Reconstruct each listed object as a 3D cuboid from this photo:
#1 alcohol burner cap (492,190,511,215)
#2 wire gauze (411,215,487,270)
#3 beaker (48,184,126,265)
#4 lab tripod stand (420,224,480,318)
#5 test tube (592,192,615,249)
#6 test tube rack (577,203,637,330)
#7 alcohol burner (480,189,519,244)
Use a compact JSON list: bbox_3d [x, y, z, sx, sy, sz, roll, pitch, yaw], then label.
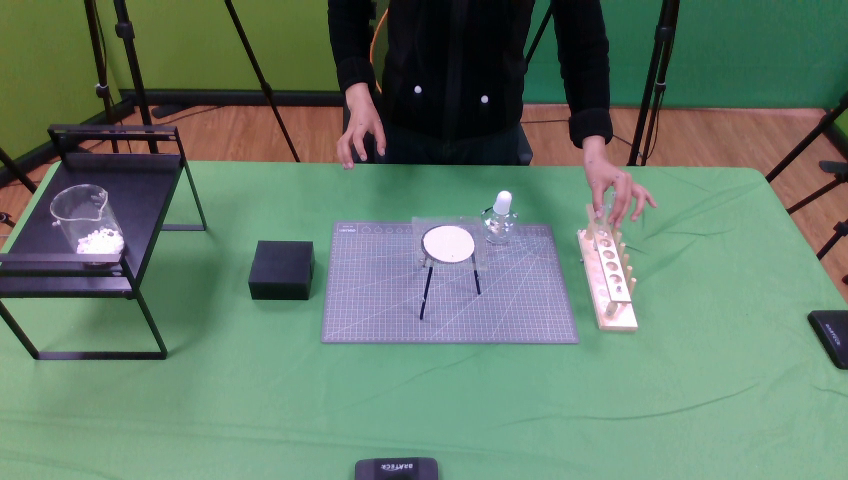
[{"bbox_3d":[0.151,-0.076,1.165,0.034,0.048,0.033,5,49,-6],"label":"alcohol burner cap"},{"bbox_3d":[0.041,0.002,1.026,0.125,0.011,0.120,1,46,-3],"label":"wire gauze"},{"bbox_3d":[-0.479,-0.018,0.875,0.083,0.101,0.074,30,52,22],"label":"beaker"},{"bbox_3d":[0.034,0.052,1.070,0.148,0.132,0.147,3,48,-3],"label":"lab tripod stand"},{"bbox_3d":[0.330,-0.033,1.119,0.017,0.151,0.017,-1,51,2],"label":"test tube"},{"bbox_3d":[0.349,0.045,1.139,0.067,0.085,0.241,2,46,-2],"label":"test tube rack"},{"bbox_3d":[0.150,-0.051,1.191,0.078,0.120,0.077,1,46,-1],"label":"alcohol burner"}]
